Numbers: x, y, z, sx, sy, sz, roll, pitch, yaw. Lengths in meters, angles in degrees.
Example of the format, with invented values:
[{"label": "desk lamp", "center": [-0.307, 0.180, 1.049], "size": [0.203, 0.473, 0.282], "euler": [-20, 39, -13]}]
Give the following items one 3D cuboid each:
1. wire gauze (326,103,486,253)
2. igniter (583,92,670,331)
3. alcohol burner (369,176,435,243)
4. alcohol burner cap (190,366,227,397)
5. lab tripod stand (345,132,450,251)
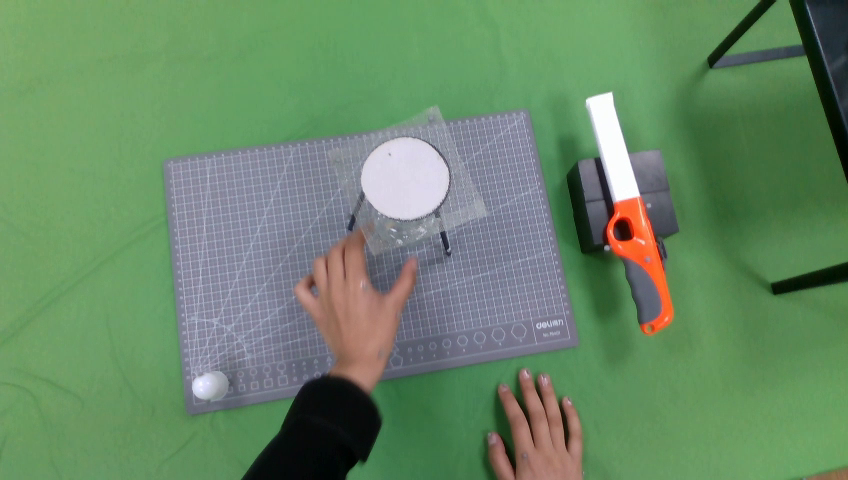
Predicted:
[{"label": "wire gauze", "center": [-0.019, -0.062, 0.597], "size": [0.125, 0.011, 0.121], "euler": [-22, 80, -7]}, {"label": "igniter", "center": [0.227, -0.036, 0.683], "size": [0.057, 0.025, 0.275], "euler": [-12, 79, 6]}, {"label": "alcohol burner", "center": [-0.023, -0.037, 0.670], "size": [0.078, 0.119, 0.077], "euler": [1, 80, -3]}, {"label": "alcohol burner cap", "center": [-0.236, 0.153, 0.656], "size": [0.034, 0.048, 0.033], "euler": [0, 76, -1]}, {"label": "lab tripod stand", "center": [-0.022, -0.055, 0.664], "size": [0.148, 0.132, 0.147], "euler": [0, 76, -2]}]
